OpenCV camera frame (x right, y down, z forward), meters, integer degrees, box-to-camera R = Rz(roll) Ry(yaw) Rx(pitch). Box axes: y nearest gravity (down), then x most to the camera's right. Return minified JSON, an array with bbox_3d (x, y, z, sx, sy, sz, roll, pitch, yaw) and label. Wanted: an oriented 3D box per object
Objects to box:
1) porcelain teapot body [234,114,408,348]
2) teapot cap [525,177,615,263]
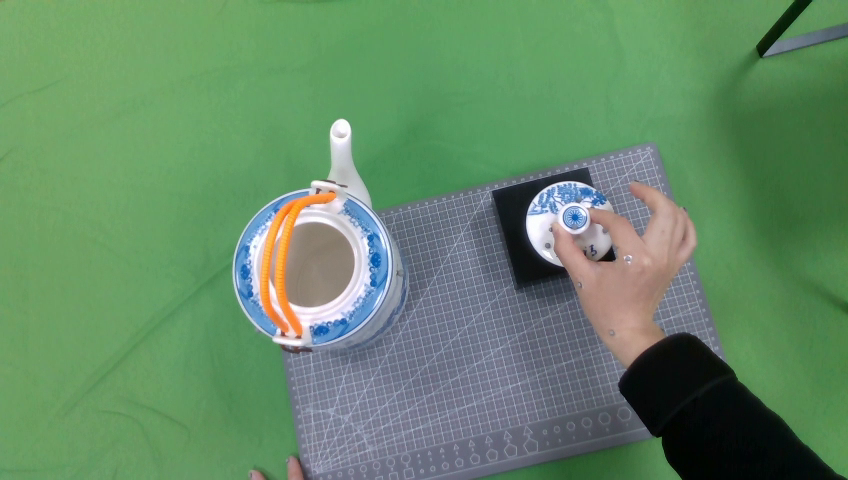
[{"bbox_3d":[-0.091,-0.005,0.559,0.145,0.226,0.204,8,79,6],"label":"porcelain teapot body"},{"bbox_3d":[0.138,-0.021,0.570,0.085,0.044,0.084,-1,75,6],"label":"teapot cap"}]
